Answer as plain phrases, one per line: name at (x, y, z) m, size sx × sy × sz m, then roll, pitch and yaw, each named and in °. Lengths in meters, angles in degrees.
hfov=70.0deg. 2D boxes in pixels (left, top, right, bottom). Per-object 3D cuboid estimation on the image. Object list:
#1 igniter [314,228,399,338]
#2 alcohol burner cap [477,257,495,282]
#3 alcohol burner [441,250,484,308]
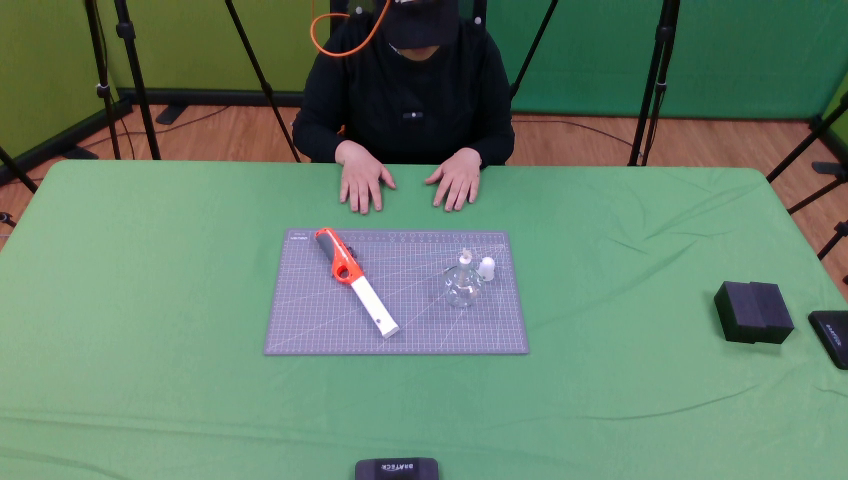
igniter at (-0.129, 0.069, 1.111) m, size 0.057 × 0.025 × 0.275 m, roll -36°, pitch 57°, yaw -5°
alcohol burner cap at (0.118, 0.053, 1.139) m, size 0.034 × 0.048 × 0.033 m, roll 2°, pitch 45°, yaw -2°
alcohol burner at (0.069, 0.064, 1.075) m, size 0.078 × 0.120 × 0.077 m, roll 1°, pitch 45°, yaw -1°
